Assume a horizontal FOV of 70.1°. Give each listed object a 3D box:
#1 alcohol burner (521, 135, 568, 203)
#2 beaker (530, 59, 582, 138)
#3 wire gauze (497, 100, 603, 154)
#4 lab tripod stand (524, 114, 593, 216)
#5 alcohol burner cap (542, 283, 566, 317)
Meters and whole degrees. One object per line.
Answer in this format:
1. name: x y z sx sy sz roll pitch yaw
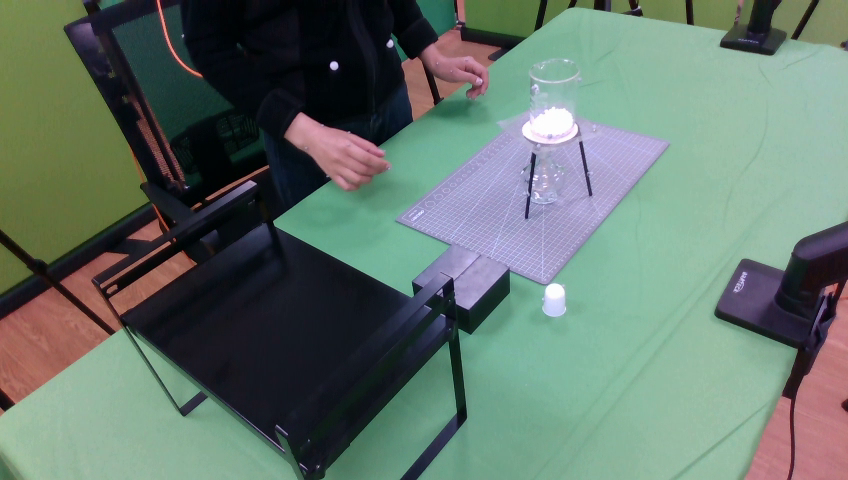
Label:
1. alcohol burner: 0.201 -0.122 1.012 0.078 0.119 0.077 -6 41 6
2. beaker: 0.198 -0.217 0.932 0.074 0.101 0.083 -22 43 -16
3. wire gauze: 0.199 -0.179 0.962 0.125 0.011 0.120 -21 42 -12
4. lab tripod stand: 0.210 -0.127 1.001 0.148 0.132 0.147 -4 43 4
5. alcohol burner cap: 0.181 0.081 0.839 0.034 0.048 0.033 -3 40 3
